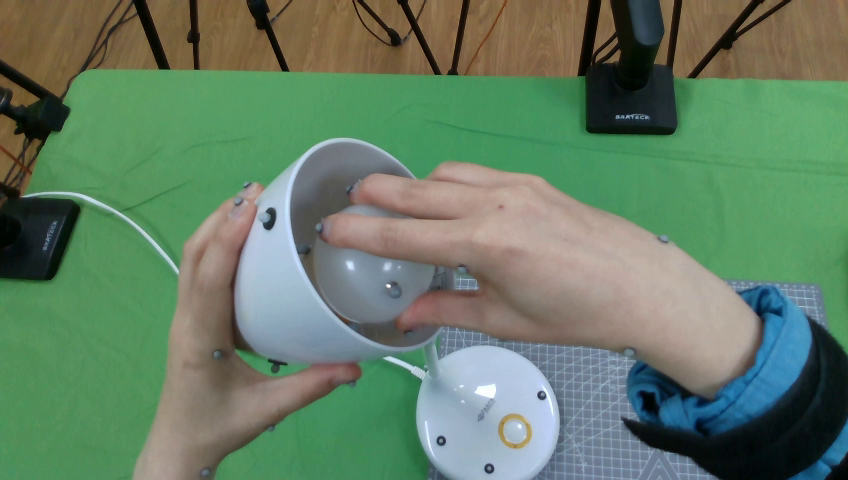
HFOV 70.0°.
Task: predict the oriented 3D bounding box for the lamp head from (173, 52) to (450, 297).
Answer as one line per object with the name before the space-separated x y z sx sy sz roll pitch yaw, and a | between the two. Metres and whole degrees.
lamp head | -0.057 -0.020 0.302 0.122 0.113 0.111 -12 68 26

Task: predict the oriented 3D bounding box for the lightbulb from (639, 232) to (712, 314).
lightbulb | 0.275 0.033 0.674 0.059 0.060 0.106 -22 55 -2

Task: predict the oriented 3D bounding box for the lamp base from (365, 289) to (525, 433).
lamp base | 0.011 0.105 0.606 0.179 0.181 0.159 7 72 11
